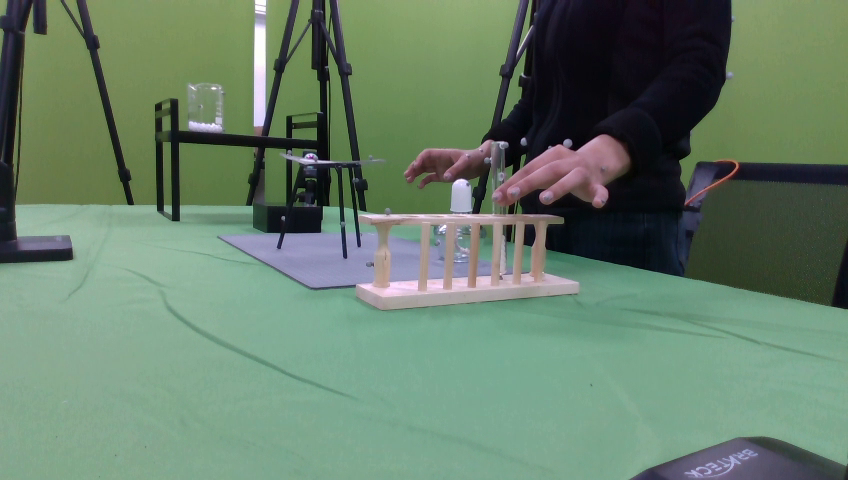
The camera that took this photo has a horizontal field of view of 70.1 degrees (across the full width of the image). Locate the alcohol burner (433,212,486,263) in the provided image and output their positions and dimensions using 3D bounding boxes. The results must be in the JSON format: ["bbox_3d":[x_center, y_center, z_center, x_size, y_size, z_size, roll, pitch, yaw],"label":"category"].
[{"bbox_3d":[0.051,-0.027,0.863,0.078,0.119,0.078,2,6,0],"label":"alcohol burner"}]

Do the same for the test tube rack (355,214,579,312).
[{"bbox_3d":[0.053,0.018,0.640,0.243,0.085,0.066,-1,8,-29],"label":"test tube rack"}]

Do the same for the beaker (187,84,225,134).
[{"bbox_3d":[-0.459,-0.274,1.271,0.074,0.100,0.084,3,8,7],"label":"beaker"}]

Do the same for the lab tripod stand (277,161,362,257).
[{"bbox_3d":[-0.143,-0.049,0.884,0.148,0.131,0.148,1,9,0],"label":"lab tripod stand"}]

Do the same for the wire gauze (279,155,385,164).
[{"bbox_3d":[-0.134,-0.114,0.875,0.122,0.011,0.124,-1,8,-30],"label":"wire gauze"}]

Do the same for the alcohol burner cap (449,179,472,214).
[{"bbox_3d":[0.052,-0.063,0.858,0.034,0.048,0.034,3,13,0],"label":"alcohol burner cap"}]

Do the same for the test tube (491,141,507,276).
[{"bbox_3d":[0.083,-0.034,0.667,0.017,0.150,0.017,-2,9,1],"label":"test tube"}]
